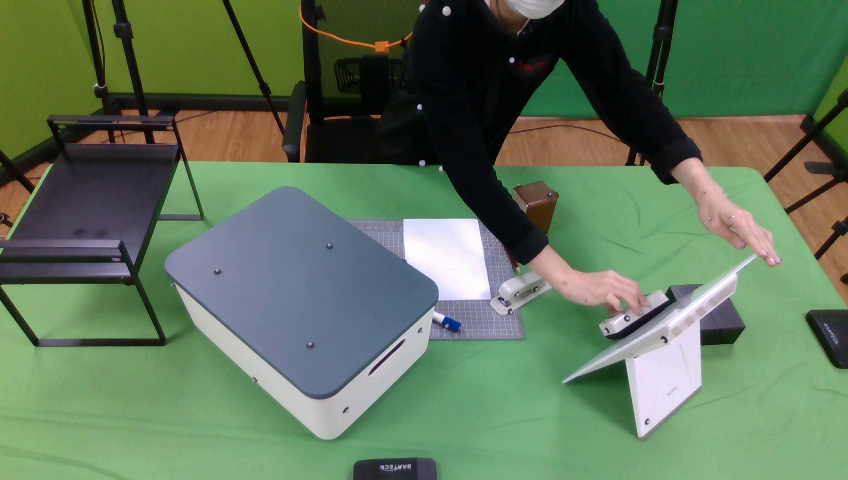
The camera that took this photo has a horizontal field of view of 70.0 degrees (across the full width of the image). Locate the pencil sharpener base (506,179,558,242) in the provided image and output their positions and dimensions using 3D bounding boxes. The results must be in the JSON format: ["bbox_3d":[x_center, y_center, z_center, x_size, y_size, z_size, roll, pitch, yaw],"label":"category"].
[{"bbox_3d":[0.216,-0.059,1.211,0.077,0.107,0.061,-16,49,-19],"label":"pencil sharpener base"}]

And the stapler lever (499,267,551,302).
[{"bbox_3d":[0.185,0.077,1.101,0.118,0.040,0.026,-24,57,-29],"label":"stapler lever"}]

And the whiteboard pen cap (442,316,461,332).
[{"bbox_3d":[0.048,0.147,1.060,0.033,0.018,0.018,23,49,16],"label":"whiteboard pen cap"}]

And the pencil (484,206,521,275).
[{"bbox_3d":[0.157,-0.001,1.217,0.012,0.012,0.192,-10,48,-14],"label":"pencil"}]

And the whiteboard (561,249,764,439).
[{"bbox_3d":[0.386,0.176,0.905,0.217,0.306,0.143,-26,72,-26],"label":"whiteboard"}]

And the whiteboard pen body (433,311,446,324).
[{"bbox_3d":[-0.004,0.123,1.074,0.140,0.017,0.017,24,49,15],"label":"whiteboard pen body"}]

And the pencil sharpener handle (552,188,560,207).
[{"bbox_3d":[0.261,-0.084,1.221,0.031,0.068,0.036,-16,64,-19],"label":"pencil sharpener handle"}]

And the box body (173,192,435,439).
[{"bbox_3d":[-0.191,0.110,0.979,0.362,0.161,0.254,33,53,24],"label":"box body"}]

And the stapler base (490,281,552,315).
[{"bbox_3d":[0.181,0.094,1.118,0.130,0.024,0.041,-24,57,-29],"label":"stapler base"}]

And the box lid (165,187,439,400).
[{"bbox_3d":[-0.187,0.060,0.925,0.370,0.015,0.263,32,53,25],"label":"box lid"}]

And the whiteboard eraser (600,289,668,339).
[{"bbox_3d":[0.355,0.127,1.021,0.113,0.056,0.041,-31,79,-14],"label":"whiteboard eraser"}]
